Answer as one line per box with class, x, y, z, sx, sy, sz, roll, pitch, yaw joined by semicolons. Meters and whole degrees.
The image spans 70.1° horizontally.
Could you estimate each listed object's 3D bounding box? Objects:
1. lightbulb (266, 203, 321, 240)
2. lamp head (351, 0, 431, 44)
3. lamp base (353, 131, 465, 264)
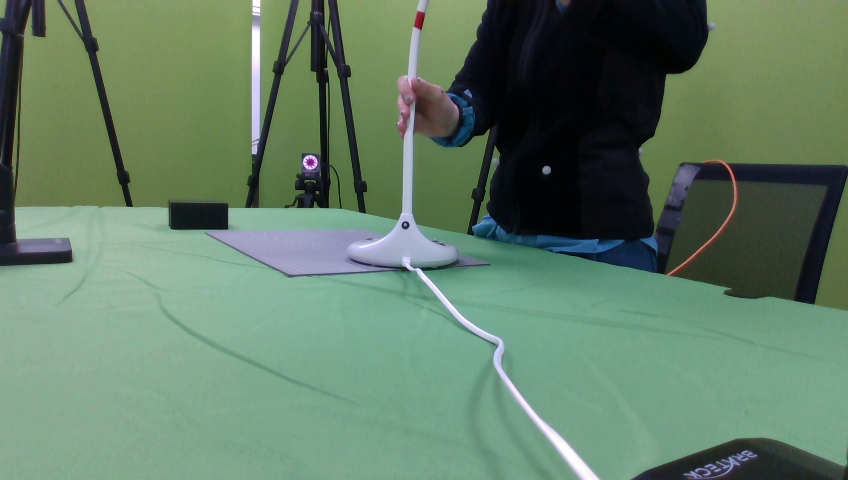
lightbulb;-0.224;-0.026;1.032;0.059;0.059;0.108;8;24;38
lamp head;-0.035;-0.354;0.850;0.113;0.112;0.122;-1;-28;-23
lamp base;-0.015;-0.062;0.851;0.161;0.180;0.178;-1;10;-20
